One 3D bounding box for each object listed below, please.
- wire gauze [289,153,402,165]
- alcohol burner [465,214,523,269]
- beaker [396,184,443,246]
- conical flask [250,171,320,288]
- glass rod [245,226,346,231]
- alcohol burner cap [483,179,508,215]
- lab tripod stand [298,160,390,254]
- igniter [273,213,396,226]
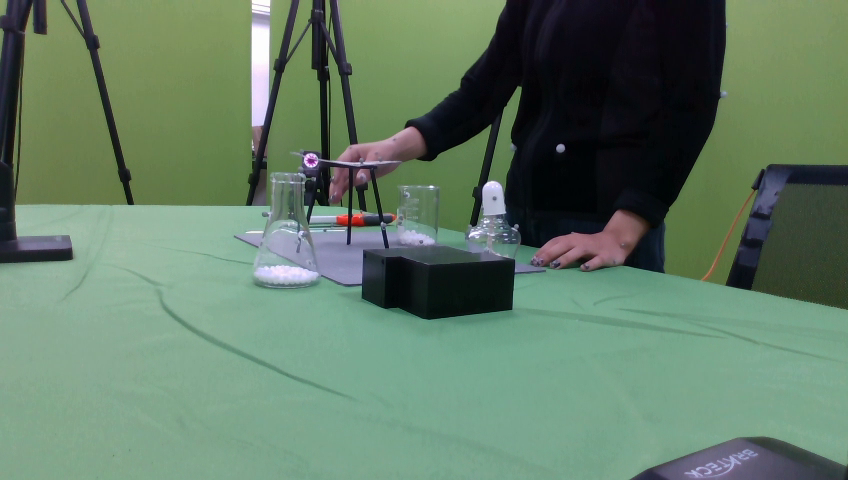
[{"bbox_3d":[-0.112,-0.116,0.883,0.124,0.011,0.122,7,7,28],"label":"wire gauze"},{"bbox_3d":[0.094,-0.022,0.815,0.078,0.119,0.078,0,7,0],"label":"alcohol burner"},{"bbox_3d":[-0.011,-0.043,1.004,0.083,0.100,0.074,8,9,39],"label":"beaker"},{"bbox_3d":[-0.150,-0.013,0.658,0.075,0.122,0.075,2,7,0],"label":"conical flask"},{"bbox_3d":[-0.237,-0.022,1.140,0.201,0.008,0.008,-1,8,-32],"label":"glass rod"},{"bbox_3d":[0.094,-0.057,0.810,0.034,0.048,0.034,-8,6,1],"label":"alcohol burner cap"},{"bbox_3d":[-0.111,-0.050,0.893,0.148,0.131,0.148,4,6,0],"label":"lab tripod stand"},{"bbox_3d":[-0.179,-0.043,1.258,0.278,0.025,0.057,-3,-1,-38],"label":"igniter"}]
